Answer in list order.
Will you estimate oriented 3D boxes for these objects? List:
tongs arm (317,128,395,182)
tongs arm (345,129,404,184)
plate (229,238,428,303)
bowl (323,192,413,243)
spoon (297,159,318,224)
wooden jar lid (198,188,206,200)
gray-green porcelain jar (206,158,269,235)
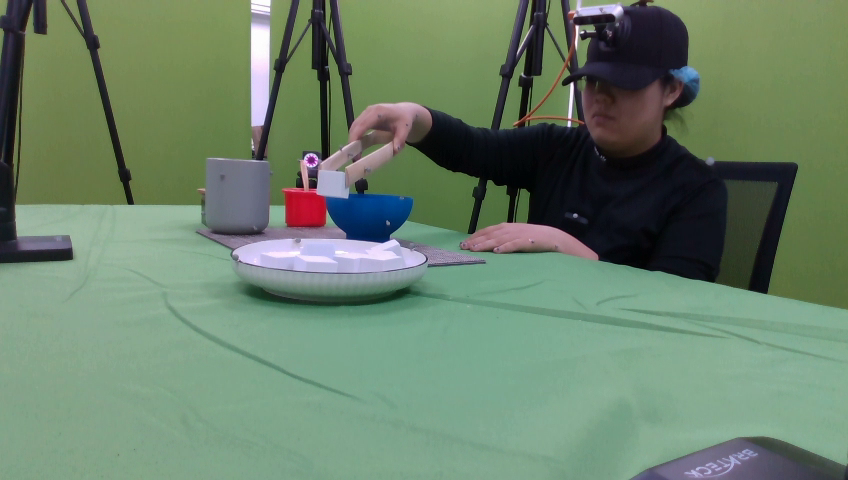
[{"bbox_3d":[-0.093,-0.137,0.927,0.051,0.026,0.384,3,17,3],"label":"tongs arm"},{"bbox_3d":[-0.069,-0.135,0.924,0.028,0.028,0.387,1,17,8],"label":"tongs arm"},{"bbox_3d":[-0.099,0.032,0.651,0.209,0.038,0.209,3,8,0],"label":"plate"},{"bbox_3d":[-0.094,-0.037,1.015,0.151,0.077,0.151,3,7,0],"label":"bowl"},{"bbox_3d":[-0.244,-0.103,1.251,0.042,0.021,0.193,1,51,-17],"label":"spoon"},{"bbox_3d":[-0.382,-0.088,1.175,0.108,0.020,0.108,3,8,0],"label":"wooden jar lid"},{"bbox_3d":[-0.323,-0.076,1.048,0.106,0.126,0.106,3,7,0],"label":"gray-green porcelain jar"}]
